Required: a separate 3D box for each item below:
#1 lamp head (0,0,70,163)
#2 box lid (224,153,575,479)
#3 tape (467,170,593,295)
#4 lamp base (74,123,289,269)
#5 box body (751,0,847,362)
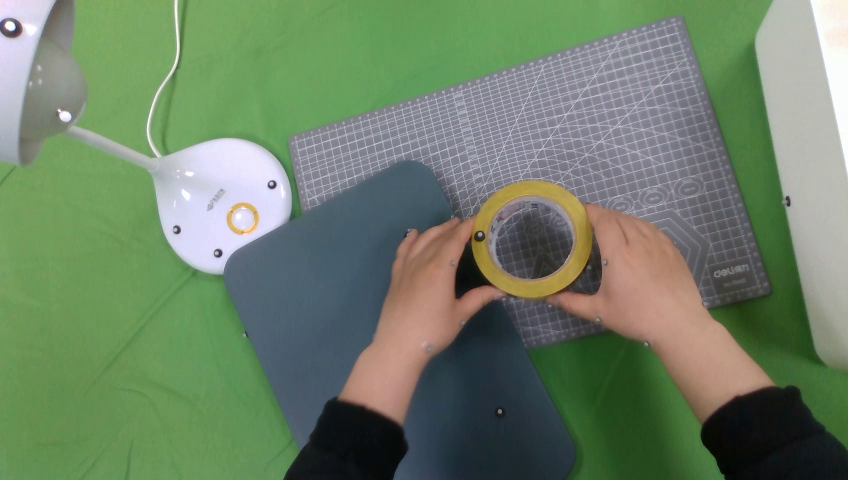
[{"bbox_3d":[-0.275,-0.111,0.338,0.123,0.112,0.112,14,85,-20],"label":"lamp head"},{"bbox_3d":[-0.037,0.114,0.641,0.263,0.015,0.370,-29,81,5],"label":"box lid"},{"bbox_3d":[0.102,-0.007,0.579,0.116,0.053,0.116,-2,82,12],"label":"tape"},{"bbox_3d":[-0.260,-0.062,0.633,0.178,0.181,0.160,25,88,17],"label":"lamp base"},{"bbox_3d":[0.441,-0.083,0.491,0.254,0.161,0.362,-9,81,11],"label":"box body"}]
